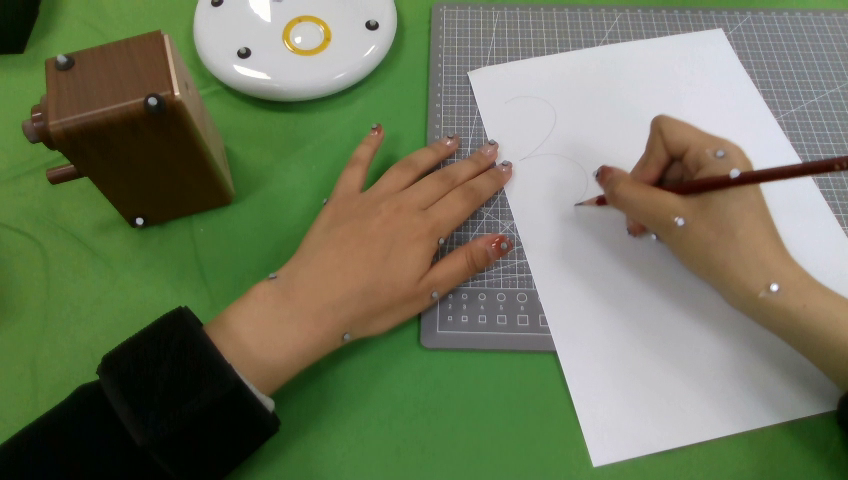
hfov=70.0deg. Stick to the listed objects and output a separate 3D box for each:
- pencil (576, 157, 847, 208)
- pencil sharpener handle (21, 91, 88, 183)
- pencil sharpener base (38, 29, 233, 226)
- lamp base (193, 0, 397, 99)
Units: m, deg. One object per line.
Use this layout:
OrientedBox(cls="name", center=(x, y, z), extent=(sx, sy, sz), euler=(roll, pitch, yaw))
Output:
OrientedBox(cls="pencil", center=(0.161, -0.031, 0.335), extent=(0.012, 0.193, 0.012), euler=(3, 84, -37))
OrientedBox(cls="pencil sharpener handle", center=(-0.223, -0.056, 0.360), extent=(0.031, 0.068, 0.035), euler=(-17, 65, -8))
OrientedBox(cls="pencil sharpener base", center=(-0.174, -0.065, 0.378), extent=(0.077, 0.108, 0.061), euler=(-17, 63, -8))
OrientedBox(cls="lamp base", center=(-0.109, -0.222, 0.421), extent=(0.161, 0.182, 0.177), euler=(-27, 62, -13))
